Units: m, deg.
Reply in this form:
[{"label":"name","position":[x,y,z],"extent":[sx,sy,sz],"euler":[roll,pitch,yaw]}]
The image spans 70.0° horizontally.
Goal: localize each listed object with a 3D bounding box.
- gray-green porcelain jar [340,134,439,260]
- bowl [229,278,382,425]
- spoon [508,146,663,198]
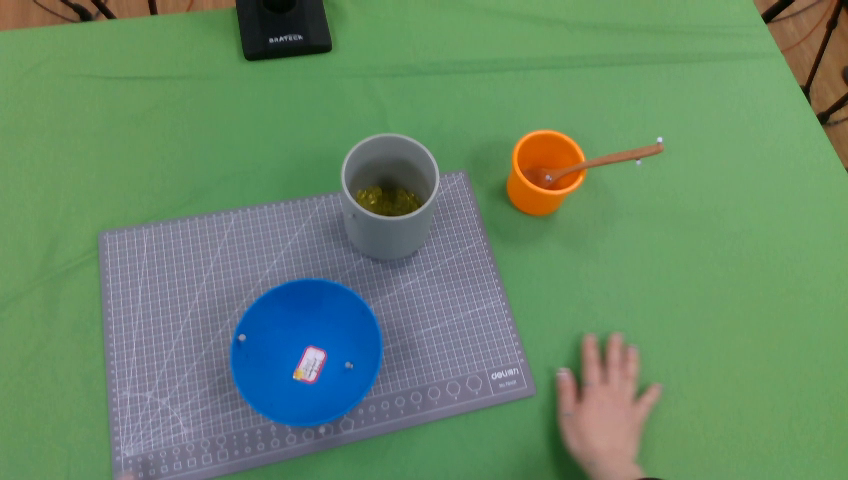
[{"label":"gray-green porcelain jar","position":[-0.042,-0.042,0.692],"extent":[0.106,0.127,0.105],"euler":[2,66,-5]},{"label":"bowl","position":[-0.120,0.123,0.638],"extent":[0.151,0.077,0.150],"euler":[3,66,-6]},{"label":"spoon","position":[0.187,-0.084,0.728],"extent":[0.022,0.193,0.041],"euler":[31,57,-42]}]
